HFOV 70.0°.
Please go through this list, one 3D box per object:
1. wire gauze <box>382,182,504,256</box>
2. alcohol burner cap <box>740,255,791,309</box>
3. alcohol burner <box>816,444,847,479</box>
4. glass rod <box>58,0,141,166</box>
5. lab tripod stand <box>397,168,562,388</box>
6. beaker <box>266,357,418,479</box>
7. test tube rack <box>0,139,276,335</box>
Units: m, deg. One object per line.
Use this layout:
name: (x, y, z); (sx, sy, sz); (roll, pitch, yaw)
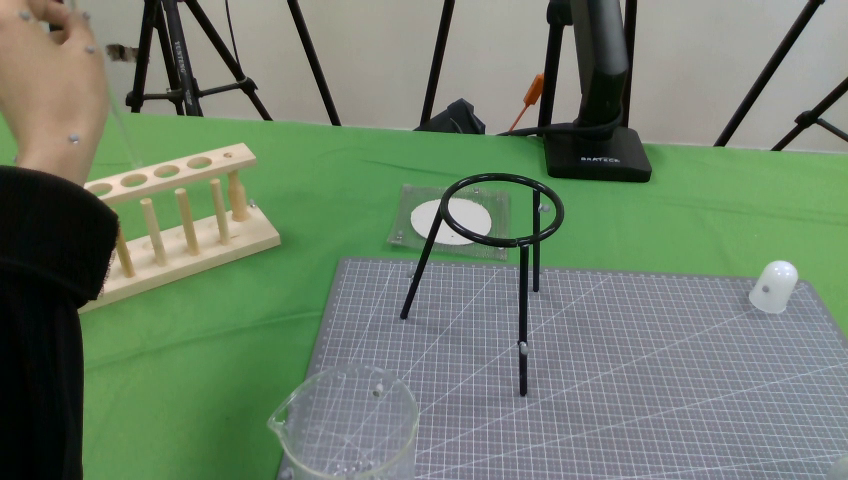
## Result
wire gauze: (0.023, -0.029, 0.645); (0.125, 0.011, 0.120); (5, 37, 5)
alcohol burner cap: (0.308, 0.035, 0.543); (0.034, 0.048, 0.033); (1, 38, -1)
alcohol burner: (0.275, 0.142, 0.347); (0.078, 0.120, 0.077); (2, 36, -1)
glass rod: (-0.236, -0.127, 0.431); (0.008, 0.201, 0.008); (1, 50, -1)
lab tripod stand: (0.049, 0.022, 0.474); (0.148, 0.132, 0.147); (0, 40, 0)
beaker: (-0.046, 0.131, 0.360); (0.084, 0.101, 0.073); (1, 38, 0)
test tube rack: (-0.265, -0.010, 0.545); (0.243, 0.086, 0.066); (-21, 44, -27)
